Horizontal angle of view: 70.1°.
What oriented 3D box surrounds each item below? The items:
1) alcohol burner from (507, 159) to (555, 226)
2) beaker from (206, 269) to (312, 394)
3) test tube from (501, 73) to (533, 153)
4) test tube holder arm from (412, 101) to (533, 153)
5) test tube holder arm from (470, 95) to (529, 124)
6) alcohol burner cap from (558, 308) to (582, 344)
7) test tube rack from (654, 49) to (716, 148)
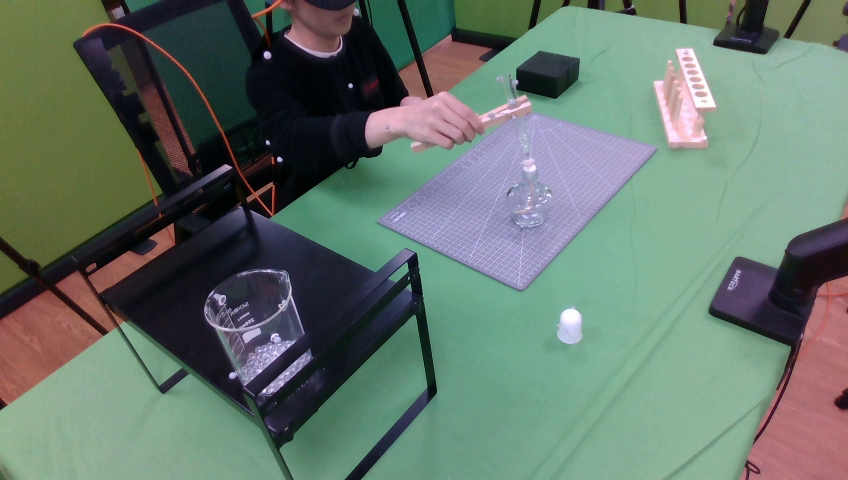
[{"bbox_3d":[0.172,-0.081,0.969,0.078,0.119,0.077,-3,42,4],"label":"alcohol burner"},{"bbox_3d":[-0.146,0.086,0.560,0.073,0.101,0.084,19,47,28],"label":"beaker"},{"bbox_3d":[0.135,-0.178,0.868,0.017,0.151,0.017,-11,52,15],"label":"test tube"},{"bbox_3d":[0.067,-0.161,0.860,0.178,0.015,0.013,-20,48,5],"label":"test tube holder arm"},{"bbox_3d":[0.108,-0.181,0.861,0.088,0.015,0.010,-25,48,0],"label":"test tube holder arm"},{"bbox_3d":[0.194,0.111,0.802,0.034,0.048,0.033,-4,39,4],"label":"alcohol burner cap"},{"bbox_3d":[0.502,-0.280,1.176,0.066,0.085,0.241,2,41,11],"label":"test tube rack"}]
